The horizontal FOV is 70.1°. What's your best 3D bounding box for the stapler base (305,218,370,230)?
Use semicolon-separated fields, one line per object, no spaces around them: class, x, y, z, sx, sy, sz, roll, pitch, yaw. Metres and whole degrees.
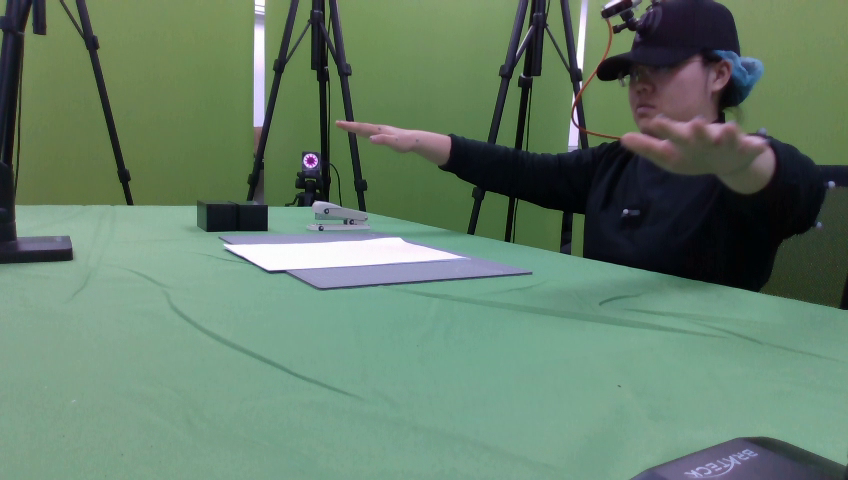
stapler base;-0.173;-0.034;1.215;0.131;0.024;0.041;0;10;-35

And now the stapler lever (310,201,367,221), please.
stapler lever;-0.171;-0.058;1.214;0.119;0.040;0.026;-1;11;-34
